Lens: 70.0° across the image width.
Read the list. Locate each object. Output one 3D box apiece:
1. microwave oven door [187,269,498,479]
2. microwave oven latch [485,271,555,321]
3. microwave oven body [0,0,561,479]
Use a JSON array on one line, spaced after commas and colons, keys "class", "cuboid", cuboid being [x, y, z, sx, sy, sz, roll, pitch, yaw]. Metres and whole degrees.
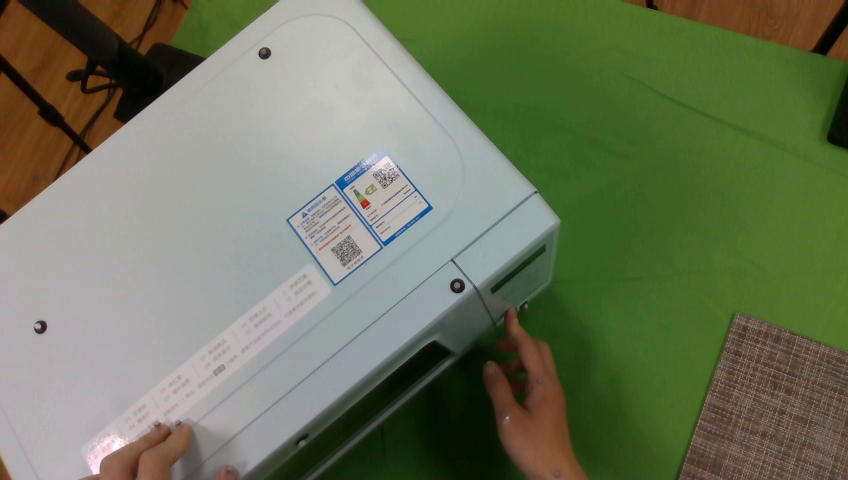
[{"class": "microwave oven door", "cuboid": [-0.089, 0.163, 0.535, 0.356, 0.245, 0.039, -39, 72, -1]}, {"class": "microwave oven latch", "cuboid": [0.100, 0.051, 0.636, 0.079, 0.030, 0.030, -38, 73, 0]}, {"class": "microwave oven body", "cuboid": [-0.144, 0.031, 0.583, 0.441, 0.262, 0.324, -40, 73, -1]}]
